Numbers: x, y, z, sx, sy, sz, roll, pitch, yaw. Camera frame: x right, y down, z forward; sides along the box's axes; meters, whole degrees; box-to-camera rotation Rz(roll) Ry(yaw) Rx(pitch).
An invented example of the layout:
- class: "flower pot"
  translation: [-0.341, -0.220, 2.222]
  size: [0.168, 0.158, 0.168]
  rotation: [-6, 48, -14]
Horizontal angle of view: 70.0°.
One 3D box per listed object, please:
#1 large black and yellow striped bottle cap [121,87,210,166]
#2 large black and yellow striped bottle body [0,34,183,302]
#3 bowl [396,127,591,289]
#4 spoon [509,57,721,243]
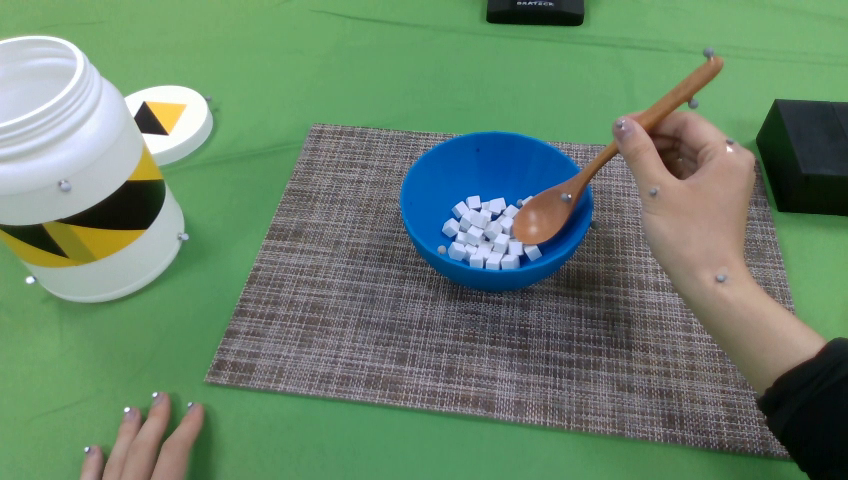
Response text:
- class: "large black and yellow striped bottle cap"
  translation: [-0.288, -0.122, 0.643]
  size: [0.115, 0.019, 0.114]
  rotation: [0, 51, 0]
- class: "large black and yellow striped bottle body"
  translation: [-0.285, -0.051, 0.478]
  size: [0.131, 0.185, 0.129]
  rotation: [-1, 51, 2]
- class: "bowl"
  translation: [0.054, -0.013, 0.497]
  size: [0.151, 0.077, 0.150]
  rotation: [-1, 52, 1]
- class: "spoon"
  translation: [0.129, -0.058, 0.437]
  size: [0.022, 0.194, 0.041]
  rotation: [8, 52, -34]
